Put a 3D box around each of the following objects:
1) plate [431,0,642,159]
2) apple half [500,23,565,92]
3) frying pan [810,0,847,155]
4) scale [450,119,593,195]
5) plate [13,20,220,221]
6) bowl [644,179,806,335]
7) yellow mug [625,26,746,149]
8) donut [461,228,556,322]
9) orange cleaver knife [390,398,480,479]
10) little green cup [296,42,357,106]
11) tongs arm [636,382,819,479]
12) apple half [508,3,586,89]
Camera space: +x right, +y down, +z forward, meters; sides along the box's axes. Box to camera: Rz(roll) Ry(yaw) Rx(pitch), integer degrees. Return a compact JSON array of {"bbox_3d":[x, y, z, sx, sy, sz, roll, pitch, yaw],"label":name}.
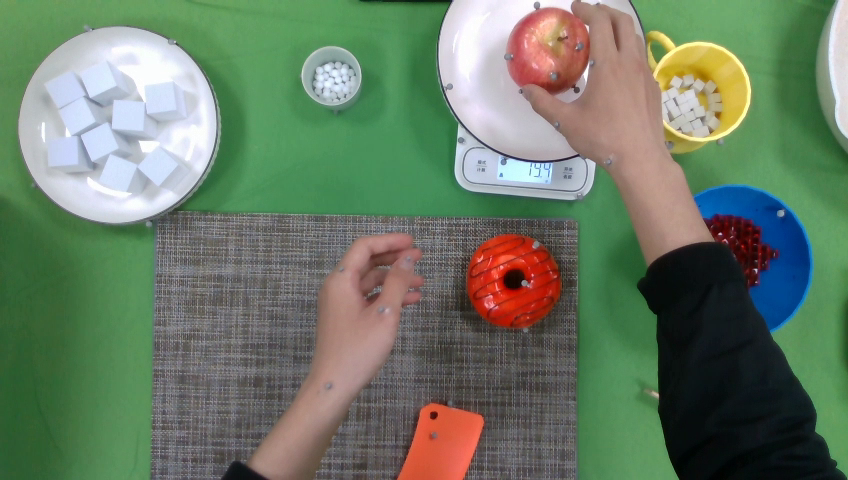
[{"bbox_3d":[0.110,-0.184,0.608,0.209,0.038,0.209,0,89,-1],"label":"plate"},{"bbox_3d":[0.095,-0.165,0.580,0.033,0.081,0.081,-43,89,-5],"label":"apple half"},{"bbox_3d":[0.580,-0.090,0.604,0.307,0.103,0.486,-26,81,0],"label":"frying pan"},{"bbox_3d":[0.109,-0.153,0.640,0.149,0.031,0.200,5,89,0],"label":"scale"},{"bbox_3d":[-0.315,-0.122,0.635,0.208,0.039,0.207,0,89,0],"label":"plate"},{"bbox_3d":[0.289,0.017,0.614,0.151,0.077,0.151,0,90,0],"label":"bowl"},{"bbox_3d":[0.257,-0.163,0.624,0.100,0.064,0.130,-32,88,0],"label":"yellow mug"},{"bbox_3d":[0.086,0.036,0.626,0.099,0.048,0.099,0,89,3],"label":"donut"},{"bbox_3d":[-0.015,0.261,0.632,0.077,0.012,0.211,30,86,-6],"label":"orange cleaver knife"},{"bbox_3d":[-0.099,-0.172,0.636,0.061,0.038,0.061,0,88,0],"label":"little green cup"},{"bbox_3d":[0.390,0.253,0.633,0.387,0.028,0.028,31,81,0],"label":"tongs arm"},{"bbox_3d":[0.123,-0.191,0.582,0.053,0.075,0.080,-44,86,-4],"label":"apple half"}]
